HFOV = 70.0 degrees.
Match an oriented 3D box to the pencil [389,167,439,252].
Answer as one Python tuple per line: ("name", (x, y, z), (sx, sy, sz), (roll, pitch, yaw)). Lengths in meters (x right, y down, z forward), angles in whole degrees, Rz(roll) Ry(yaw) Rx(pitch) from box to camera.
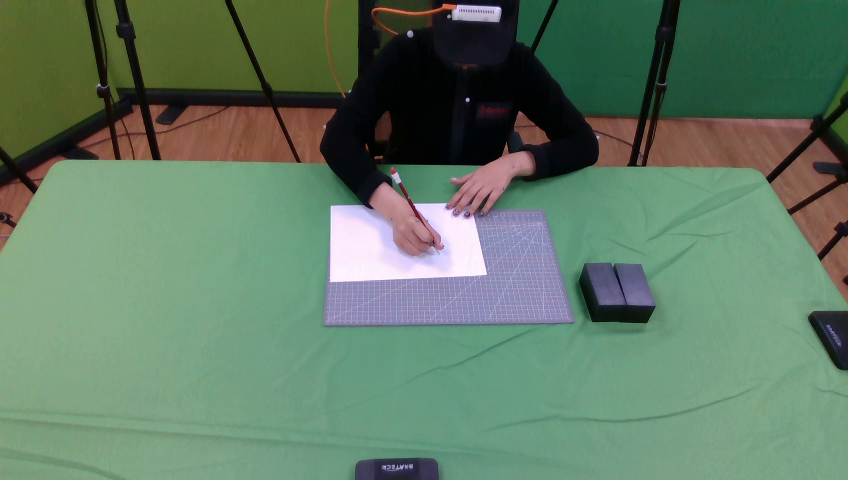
("pencil", (-0.016, -0.054, 1.149), (0.012, 0.195, 0.012), (-26, 22, 11))
